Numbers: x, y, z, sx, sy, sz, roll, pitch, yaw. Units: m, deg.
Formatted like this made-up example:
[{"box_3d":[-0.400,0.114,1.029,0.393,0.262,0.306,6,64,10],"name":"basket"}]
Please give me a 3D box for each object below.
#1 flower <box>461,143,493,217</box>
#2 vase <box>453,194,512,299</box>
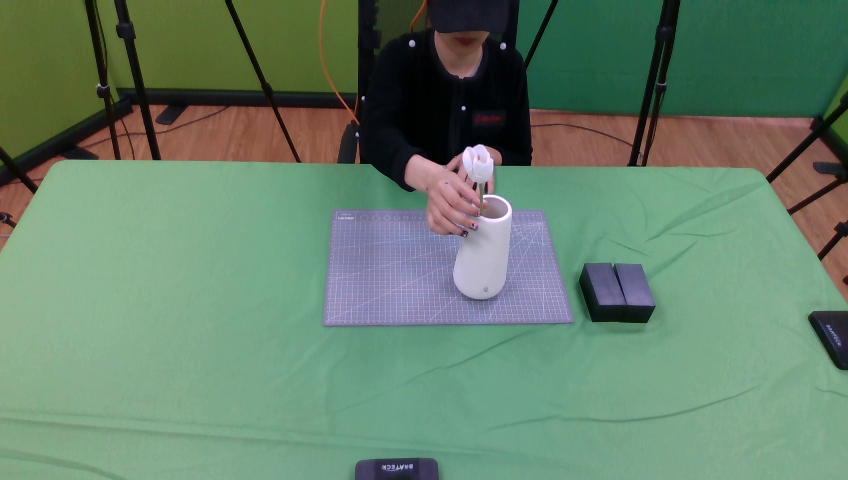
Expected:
[{"box_3d":[0.097,-0.035,0.998,0.044,0.363,0.038,20,65,19],"name":"flower"},{"box_3d":[0.107,0.016,1.065,0.098,0.201,0.097,3,47,-3],"name":"vase"}]
